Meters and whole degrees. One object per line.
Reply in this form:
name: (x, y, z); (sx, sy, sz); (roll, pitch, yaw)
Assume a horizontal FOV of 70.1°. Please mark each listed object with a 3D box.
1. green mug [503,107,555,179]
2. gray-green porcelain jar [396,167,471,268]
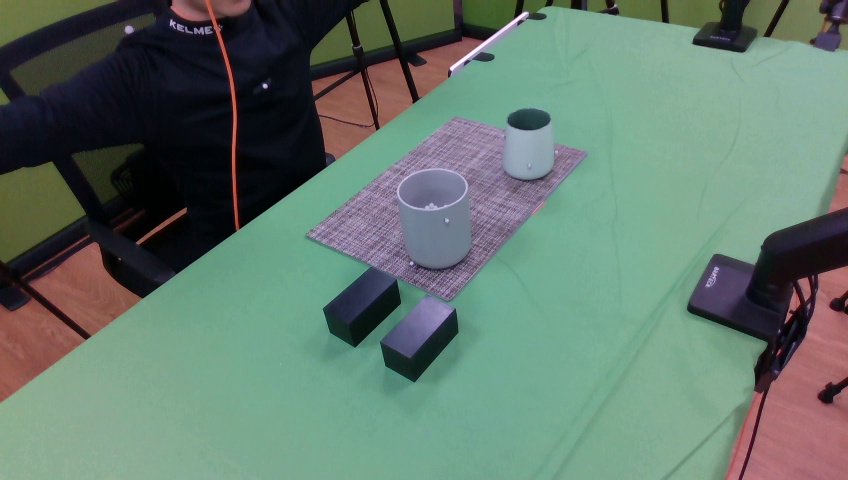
green mug: (0.181, -0.180, 1.083); (0.093, 0.105, 0.124); (-13, 41, -6)
gray-green porcelain jar: (0.017, -0.029, 0.913); (0.106, 0.127, 0.105); (-4, 41, 4)
